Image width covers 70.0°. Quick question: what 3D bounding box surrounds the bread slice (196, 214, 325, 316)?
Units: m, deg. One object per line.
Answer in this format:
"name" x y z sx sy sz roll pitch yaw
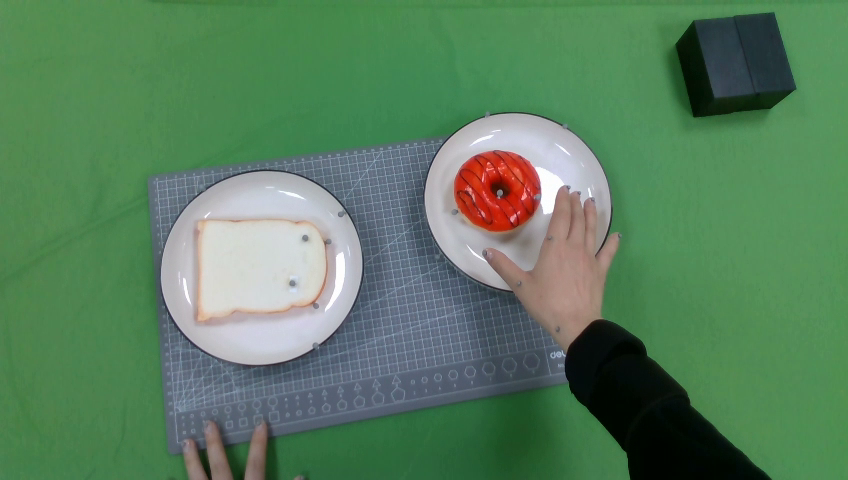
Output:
"bread slice" -0.173 0.021 0.642 0.134 0.018 0.106 -6 79 -6

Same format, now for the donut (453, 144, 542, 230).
"donut" 0.080 -0.059 0.663 0.099 0.048 0.098 0 73 -1

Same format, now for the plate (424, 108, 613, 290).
"plate" 0.103 -0.045 0.673 0.208 0.039 0.206 1 77 -3

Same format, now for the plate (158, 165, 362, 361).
"plate" -0.169 0.025 0.641 0.209 0.038 0.208 1 77 -3
